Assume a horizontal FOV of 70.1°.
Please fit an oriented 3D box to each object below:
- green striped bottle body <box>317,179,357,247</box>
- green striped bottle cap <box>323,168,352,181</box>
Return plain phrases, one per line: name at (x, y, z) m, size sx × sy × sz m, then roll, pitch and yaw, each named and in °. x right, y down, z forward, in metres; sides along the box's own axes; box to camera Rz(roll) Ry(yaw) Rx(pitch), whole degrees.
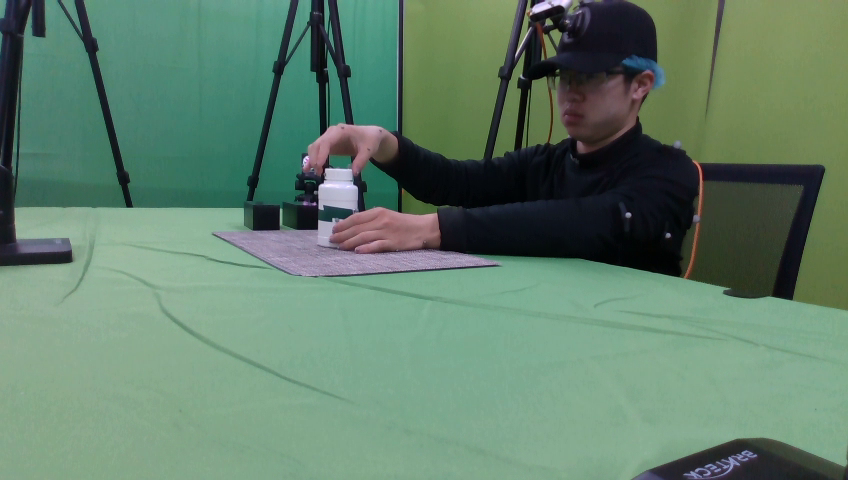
green striped bottle body at (-0.138, -0.051, 0.964) m, size 0.063 × 0.119 × 0.063 m, roll 2°, pitch 7°, yaw 0°
green striped bottle cap at (-0.137, -0.104, 0.957) m, size 0.044 × 0.020 × 0.044 m, roll 1°, pitch 5°, yaw 0°
